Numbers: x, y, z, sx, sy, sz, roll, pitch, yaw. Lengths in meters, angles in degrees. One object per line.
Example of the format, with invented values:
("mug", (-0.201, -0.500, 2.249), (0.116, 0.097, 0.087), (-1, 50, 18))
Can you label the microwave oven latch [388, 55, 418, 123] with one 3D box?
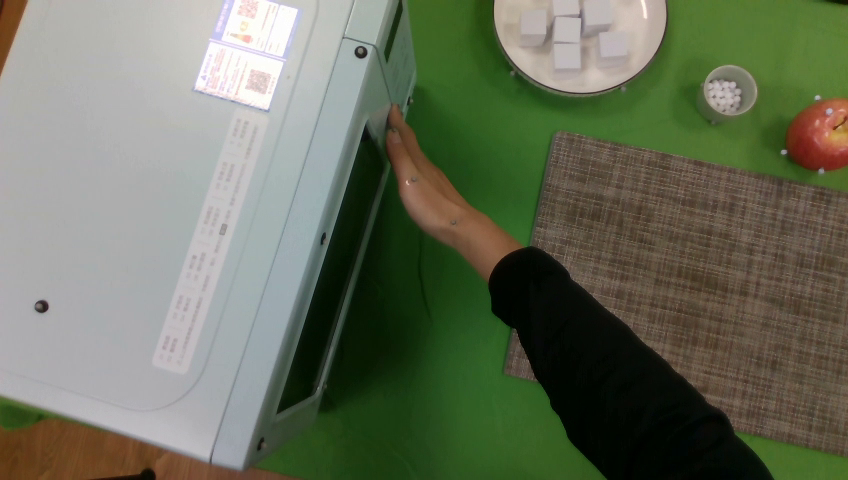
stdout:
("microwave oven latch", (-0.030, -0.182, 0.715), (0.030, 0.029, 0.079), (18, 86, 4))

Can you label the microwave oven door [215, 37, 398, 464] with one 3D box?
("microwave oven door", (-0.100, 0.016, 0.595), (0.039, 0.244, 0.355), (16, 84, 4))

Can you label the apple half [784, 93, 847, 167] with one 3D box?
("apple half", (0.445, -0.121, 0.693), (0.053, 0.075, 0.080), (-13, 87, 6))

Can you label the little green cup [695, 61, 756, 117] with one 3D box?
("little green cup", (0.355, -0.176, 0.719), (0.061, 0.039, 0.061), (0, 84, 3))

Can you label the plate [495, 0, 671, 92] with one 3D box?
("plate", (0.189, -0.276, 0.736), (0.207, 0.039, 0.207), (0, 84, 2))

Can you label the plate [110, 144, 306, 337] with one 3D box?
("plate", (-0.230, 0.001, 0.659), (0.209, 0.038, 0.208), (0, 84, 2))

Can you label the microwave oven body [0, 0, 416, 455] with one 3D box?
("microwave oven body", (-0.226, -0.065, 0.613), (0.326, 0.261, 0.441), (16, 85, 3))

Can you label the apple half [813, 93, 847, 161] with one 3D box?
("apple half", (0.483, -0.130, 0.692), (0.033, 0.081, 0.081), (-14, 83, 6))

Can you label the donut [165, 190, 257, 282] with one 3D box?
("donut", (-0.227, -0.004, 0.645), (0.099, 0.048, 0.099), (0, 86, 4))
